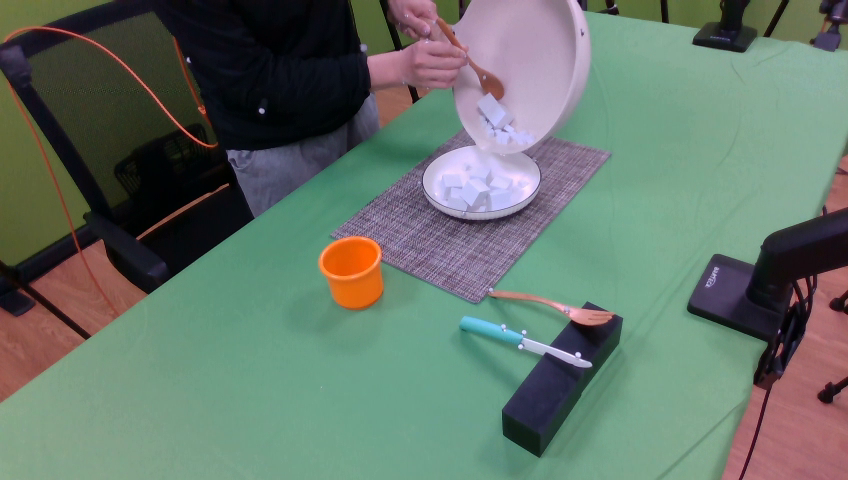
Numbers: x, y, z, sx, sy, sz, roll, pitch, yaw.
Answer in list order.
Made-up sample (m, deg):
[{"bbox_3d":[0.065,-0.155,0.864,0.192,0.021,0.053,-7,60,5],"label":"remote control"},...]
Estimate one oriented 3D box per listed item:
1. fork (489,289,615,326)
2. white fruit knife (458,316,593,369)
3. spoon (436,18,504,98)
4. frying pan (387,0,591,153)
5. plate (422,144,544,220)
[{"bbox_3d":[0.161,0.085,0.800,0.205,0.019,0.028,12,50,48],"label":"fork"},{"bbox_3d":[0.120,0.127,0.757,0.205,0.027,0.016,12,44,43],"label":"white fruit knife"},{"bbox_3d":[0.079,-0.304,1.024,0.041,0.195,0.021,2,67,41],"label":"spoon"},{"bbox_3d":[0.091,-0.341,1.060,0.103,0.307,0.483,-12,38,-44],"label":"frying pan"},{"bbox_3d":[0.102,-0.097,1.048,0.207,0.039,0.206,-4,40,4],"label":"plate"}]
